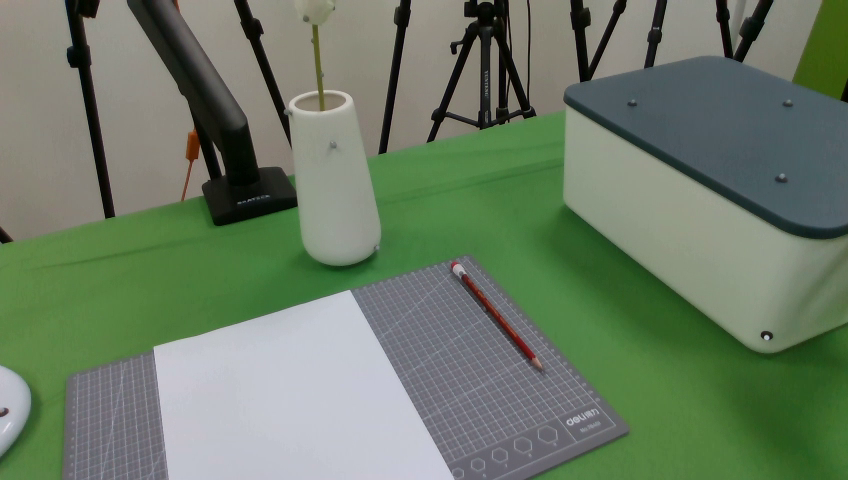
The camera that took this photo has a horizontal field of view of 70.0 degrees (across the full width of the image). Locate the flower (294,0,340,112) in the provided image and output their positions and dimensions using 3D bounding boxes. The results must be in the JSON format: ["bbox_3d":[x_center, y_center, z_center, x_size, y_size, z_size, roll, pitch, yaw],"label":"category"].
[{"bbox_3d":[-0.108,-0.124,0.646,0.044,0.364,0.038,19,52,8],"label":"flower"}]

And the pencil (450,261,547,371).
[{"bbox_3d":[0.075,0.076,0.648,0.012,0.012,0.192,-17,38,-19],"label":"pencil"}]

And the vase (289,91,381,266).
[{"bbox_3d":[-0.107,-0.068,0.711,0.098,0.202,0.097,-3,34,2],"label":"vase"}]

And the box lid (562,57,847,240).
[{"bbox_3d":[0.352,-0.122,0.653,0.264,0.015,0.367,-16,37,-18],"label":"box lid"}]

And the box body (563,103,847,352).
[{"bbox_3d":[0.356,-0.061,0.699,0.255,0.162,0.360,-16,36,-18],"label":"box body"}]

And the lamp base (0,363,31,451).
[{"bbox_3d":[-0.454,0.102,0.500,0.178,0.182,0.160,17,39,30],"label":"lamp base"}]
